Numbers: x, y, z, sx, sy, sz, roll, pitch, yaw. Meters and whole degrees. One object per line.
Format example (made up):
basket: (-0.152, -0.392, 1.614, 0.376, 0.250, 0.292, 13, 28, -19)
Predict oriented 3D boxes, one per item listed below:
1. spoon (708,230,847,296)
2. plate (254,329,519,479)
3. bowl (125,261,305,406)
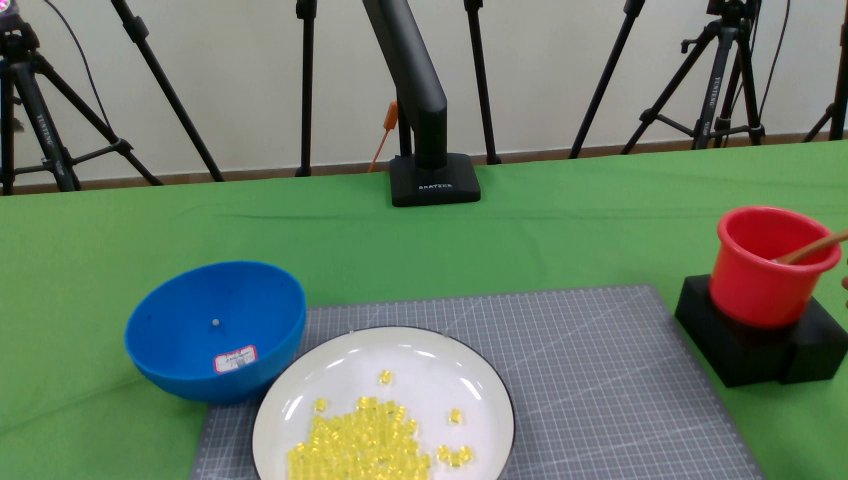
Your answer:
spoon: (0.339, 0.008, 0.513, 0.193, 0.022, 0.041, -33, 12, 38)
plate: (-0.028, 0.156, 0.492, 0.208, 0.039, 0.205, -1, 36, 1)
bowl: (-0.178, 0.095, 0.546, 0.151, 0.077, 0.150, -1, 36, 1)
